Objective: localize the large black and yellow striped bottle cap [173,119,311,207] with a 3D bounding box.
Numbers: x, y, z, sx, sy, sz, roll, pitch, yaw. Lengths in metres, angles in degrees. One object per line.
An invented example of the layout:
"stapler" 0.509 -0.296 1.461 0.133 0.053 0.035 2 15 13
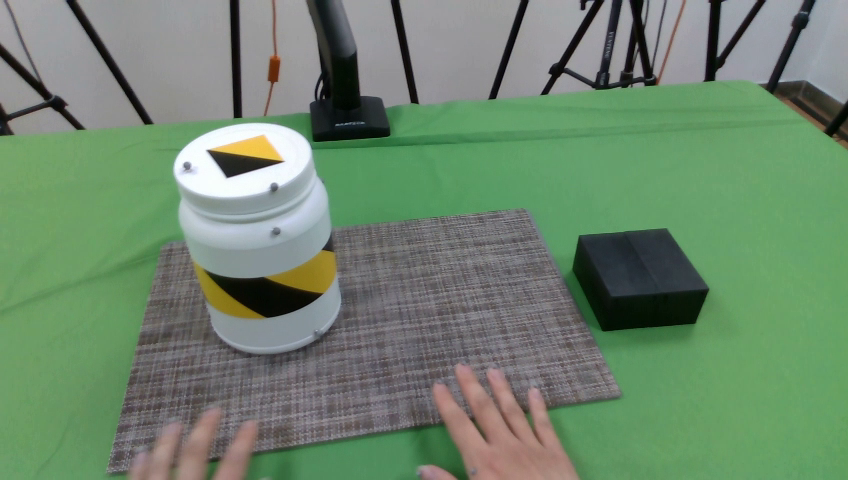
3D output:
"large black and yellow striped bottle cap" -0.156 -0.070 0.523 0.115 0.019 0.114 1 41 -1

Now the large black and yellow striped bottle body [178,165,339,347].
"large black and yellow striped bottle body" -0.154 -0.002 0.579 0.131 0.185 0.129 0 40 0
